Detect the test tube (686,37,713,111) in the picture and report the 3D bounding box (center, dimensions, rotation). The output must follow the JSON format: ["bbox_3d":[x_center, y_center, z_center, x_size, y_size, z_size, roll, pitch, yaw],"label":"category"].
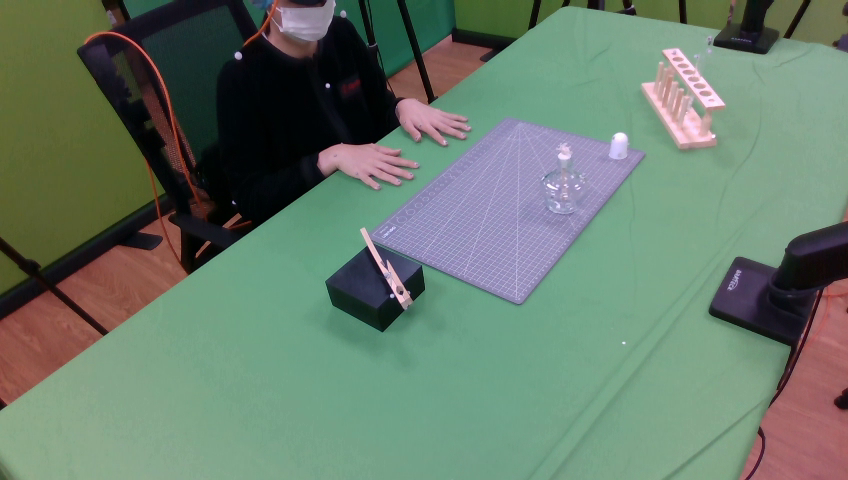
[{"bbox_3d":[0.509,-0.306,1.129,0.017,0.151,0.017,-1,45,2],"label":"test tube"}]

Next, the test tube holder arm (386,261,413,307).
[{"bbox_3d":[-0.038,0.060,0.837,0.010,0.015,0.087,-23,42,-13],"label":"test tube holder arm"}]

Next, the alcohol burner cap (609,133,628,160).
[{"bbox_3d":[0.356,-0.172,1.101,0.034,0.048,0.033,-5,41,5],"label":"alcohol burner cap"}]

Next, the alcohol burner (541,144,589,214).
[{"bbox_3d":[0.229,-0.102,0.983,0.078,0.119,0.077,-6,41,5],"label":"alcohol burner"}]

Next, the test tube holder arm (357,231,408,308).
[{"bbox_3d":[-0.062,0.038,0.868,0.013,0.015,0.177,-24,42,-15],"label":"test tube holder arm"}]

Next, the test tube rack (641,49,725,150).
[{"bbox_3d":[0.495,-0.279,1.175,0.067,0.085,0.241,-5,41,3],"label":"test tube rack"}]
